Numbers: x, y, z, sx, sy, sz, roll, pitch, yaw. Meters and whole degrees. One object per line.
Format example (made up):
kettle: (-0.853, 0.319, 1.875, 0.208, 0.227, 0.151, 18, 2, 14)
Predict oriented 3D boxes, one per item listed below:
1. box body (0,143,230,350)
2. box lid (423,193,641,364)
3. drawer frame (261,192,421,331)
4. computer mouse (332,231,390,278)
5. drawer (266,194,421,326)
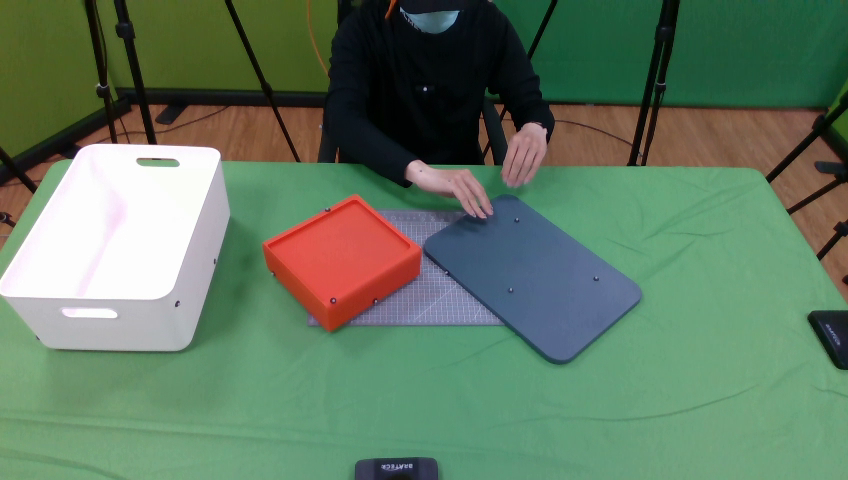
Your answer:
box body: (-0.502, 0.007, 1.055, 0.254, 0.161, 0.361, 1, 46, -3)
box lid: (0.202, 0.054, 1.168, 0.263, 0.015, 0.369, -31, 56, -30)
drawer frame: (-0.148, 0.032, 1.110, 0.213, 0.083, 0.200, -33, 57, -29)
computer mouse: (-0.120, 0.022, 1.142, 0.063, 0.041, 0.116, -35, 51, -27)
drawer: (-0.146, 0.031, 1.113, 0.212, 0.073, 0.193, -33, 57, -29)
